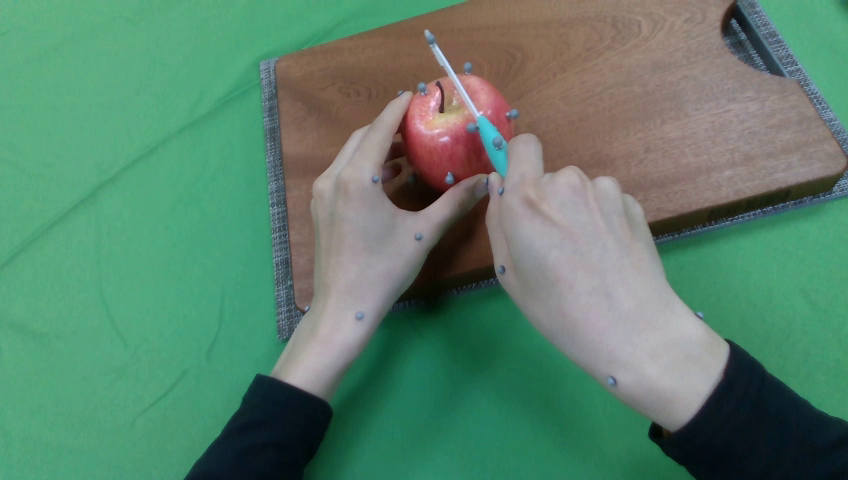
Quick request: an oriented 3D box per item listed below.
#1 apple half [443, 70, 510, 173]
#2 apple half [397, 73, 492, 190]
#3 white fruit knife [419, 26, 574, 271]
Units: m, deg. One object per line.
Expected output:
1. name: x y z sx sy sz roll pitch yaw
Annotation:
1. apple half: 0.044 -0.088 0.438 0.033 0.082 0.080 -26 60 0
2. apple half: 0.010 -0.071 0.437 0.053 0.075 0.080 -27 60 1
3. white fruit knife: 0.038 -0.069 0.384 0.016 0.028 0.205 -28 62 1
